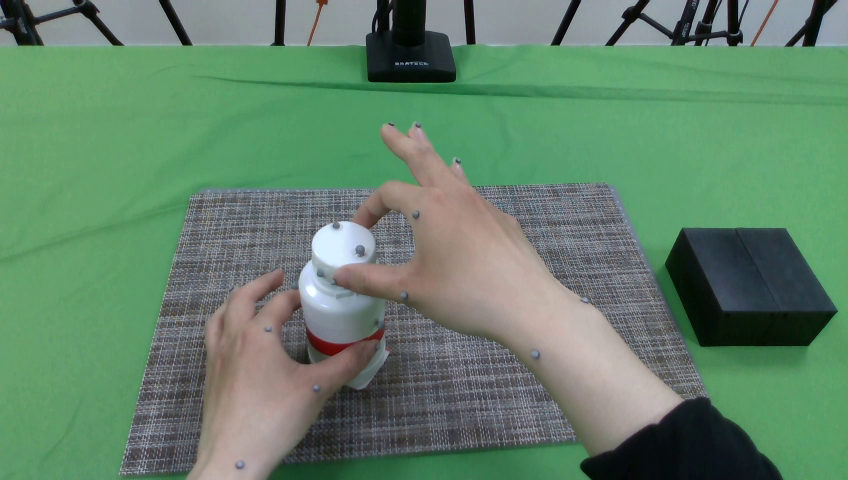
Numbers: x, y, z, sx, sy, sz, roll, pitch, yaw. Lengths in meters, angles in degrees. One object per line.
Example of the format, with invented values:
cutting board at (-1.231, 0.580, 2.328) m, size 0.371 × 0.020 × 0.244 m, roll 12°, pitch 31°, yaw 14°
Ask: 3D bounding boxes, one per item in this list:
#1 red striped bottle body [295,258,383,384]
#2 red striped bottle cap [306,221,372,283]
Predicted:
red striped bottle body at (-0.063, 0.052, 0.459) m, size 0.063 × 0.121 × 0.062 m, roll 2°, pitch 45°, yaw -2°
red striped bottle cap at (-0.057, 0.007, 0.410) m, size 0.044 × 0.018 × 0.044 m, roll 7°, pitch 43°, yaw -6°
